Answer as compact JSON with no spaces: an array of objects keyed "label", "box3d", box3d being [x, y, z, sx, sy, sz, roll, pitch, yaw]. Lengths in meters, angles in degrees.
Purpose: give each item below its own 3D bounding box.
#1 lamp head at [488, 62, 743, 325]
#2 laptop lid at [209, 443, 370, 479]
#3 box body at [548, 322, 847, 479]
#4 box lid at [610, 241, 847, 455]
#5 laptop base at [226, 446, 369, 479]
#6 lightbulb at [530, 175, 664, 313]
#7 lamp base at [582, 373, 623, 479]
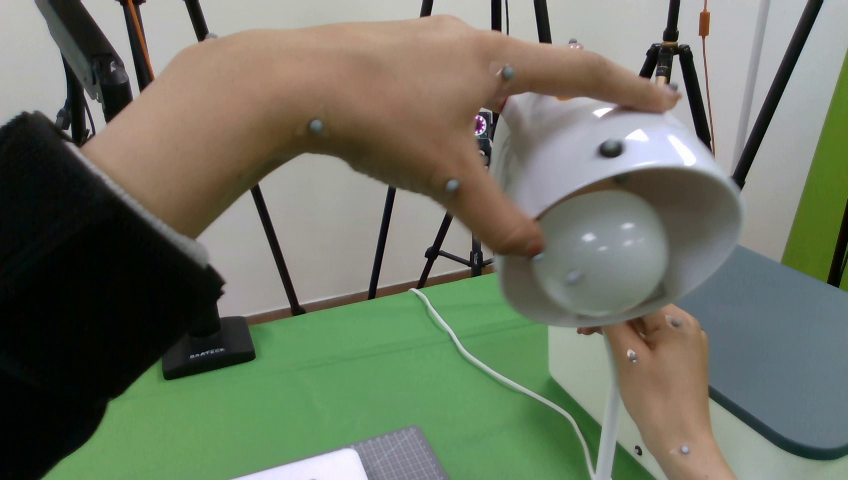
[{"label":"lamp head","box3d":[0.083,-0.031,0.313,0.112,0.113,0.121,-4,43,-4]},{"label":"laptop lid","box3d":[-0.197,0.288,0.494,0.358,0.013,0.239,-9,26,-17]},{"label":"box body","box3d":[0.327,0.140,0.659,0.255,0.161,0.360,-11,25,-21]},{"label":"box lid","box3d":[0.324,0.071,0.631,0.264,0.015,0.367,-10,25,-21]},{"label":"laptop base","box3d":[-0.198,0.299,0.501,0.355,0.023,0.233,-10,28,-19]},{"label":"lightbulb","box3d":[0.078,-0.014,0.296,0.059,0.060,0.106,-3,51,-4]},{"label":"lamp base","box3d":[0.132,0.208,0.484,0.160,0.181,0.179,7,21,17]}]
